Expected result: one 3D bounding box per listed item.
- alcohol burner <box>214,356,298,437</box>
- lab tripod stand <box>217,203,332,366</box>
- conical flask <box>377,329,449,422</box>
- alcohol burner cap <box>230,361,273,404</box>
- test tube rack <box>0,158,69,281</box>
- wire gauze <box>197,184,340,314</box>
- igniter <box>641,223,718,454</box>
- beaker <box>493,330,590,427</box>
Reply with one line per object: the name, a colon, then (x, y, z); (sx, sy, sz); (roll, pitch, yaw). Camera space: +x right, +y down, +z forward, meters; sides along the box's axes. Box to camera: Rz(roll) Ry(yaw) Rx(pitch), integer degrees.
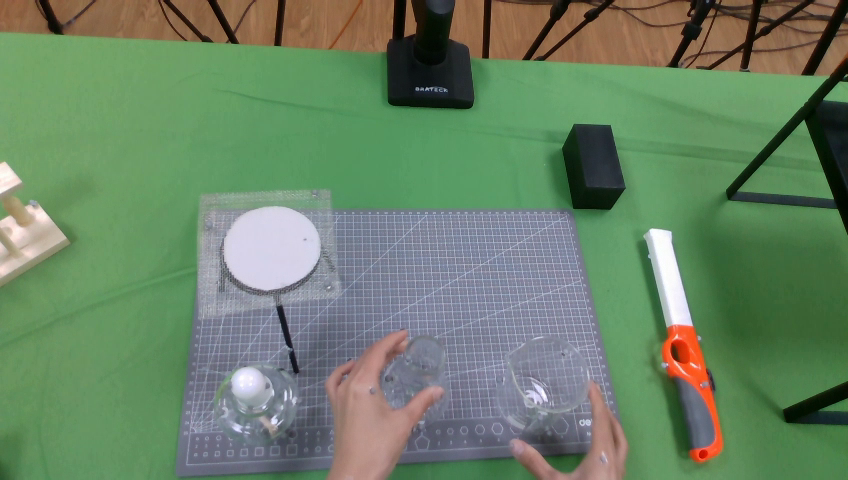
alcohol burner: (-0.157, 0.140, 0.563); (0.078, 0.120, 0.077); (4, 59, -7)
lab tripod stand: (-0.147, 0.039, 0.608); (0.149, 0.132, 0.147); (4, 61, -7)
conical flask: (-0.006, 0.125, 0.585); (0.075, 0.123, 0.074); (3, 60, -5)
alcohol burner cap: (-0.153, 0.123, 0.530); (0.034, 0.048, 0.033); (2, 64, -3)
test tube rack: (-0.498, 0.027, 0.598); (0.242, 0.086, 0.066); (-39, 72, -25)
wire gauze: (-0.143, 0.002, 0.552); (0.122, 0.011, 0.124); (-5, 63, -11)
igniter: (0.291, 0.103, 0.696); (0.057, 0.025, 0.274); (8, 60, -15)
beaker: (0.109, 0.141, 0.606); (0.084, 0.101, 0.073); (21, 60, 6)
